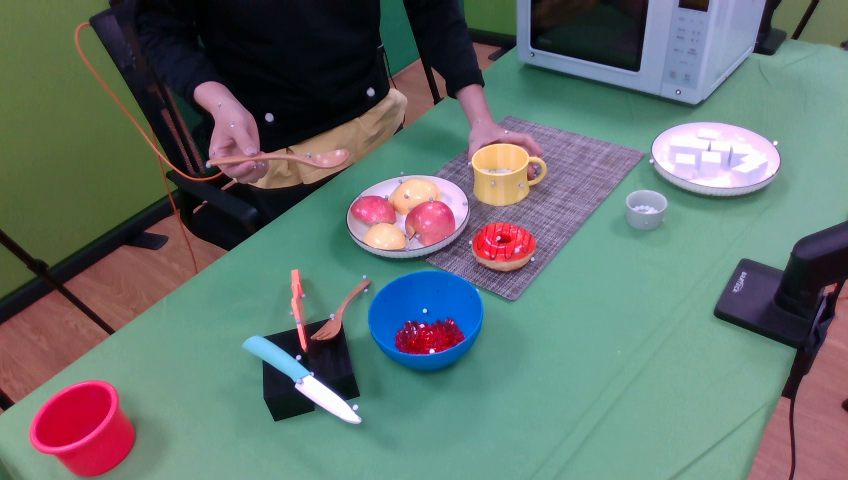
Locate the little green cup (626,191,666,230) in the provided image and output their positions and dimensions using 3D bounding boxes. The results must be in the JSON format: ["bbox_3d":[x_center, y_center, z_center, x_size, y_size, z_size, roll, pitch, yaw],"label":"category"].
[{"bbox_3d":[0.352,-0.046,0.963,0.061,0.039,0.061,-4,40,4],"label":"little green cup"}]

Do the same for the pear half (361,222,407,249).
[{"bbox_3d":[-0.063,-0.012,0.958,0.071,0.031,0.087,2,24,-25],"label":"pear half"}]

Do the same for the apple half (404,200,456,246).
[{"bbox_3d":[0.010,-0.035,0.969,0.075,0.053,0.080,-27,41,-22],"label":"apple half"}]

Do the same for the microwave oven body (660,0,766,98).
[{"bbox_3d":[0.472,-0.513,1.317,0.438,0.261,0.327,26,51,34],"label":"microwave oven body"}]

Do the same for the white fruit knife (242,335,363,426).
[{"bbox_3d":[-0.148,0.167,0.730,0.206,0.016,0.027,26,80,31],"label":"white fruit knife"}]

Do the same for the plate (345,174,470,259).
[{"bbox_3d":[-0.026,-0.037,1.004,0.209,0.038,0.208,-4,40,4],"label":"plate"}]

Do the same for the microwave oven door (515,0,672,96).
[{"bbox_3d":[0.343,-0.455,1.259,0.353,0.245,0.039,26,51,33],"label":"microwave oven door"}]

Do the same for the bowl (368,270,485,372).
[{"bbox_3d":[0.007,0.118,0.791,0.151,0.077,0.150,-5,40,4],"label":"bowl"}]

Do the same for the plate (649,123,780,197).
[{"bbox_3d":[0.497,-0.135,1.046,0.207,0.039,0.206,-4,40,4],"label":"plate"}]

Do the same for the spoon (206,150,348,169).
[{"bbox_3d":[-0.204,-0.114,0.850,0.194,0.022,0.041,-1,44,-12],"label":"spoon"}]

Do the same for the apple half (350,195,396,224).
[{"bbox_3d":[-0.081,-0.056,1.008,0.081,0.033,0.081,11,24,-4],"label":"apple half"}]

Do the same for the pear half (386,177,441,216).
[{"bbox_3d":[-0.029,-0.079,1.032,0.109,0.056,0.076,-3,35,16],"label":"pear half"}]

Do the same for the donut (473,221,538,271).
[{"bbox_3d":[0.123,0.008,0.923,0.099,0.048,0.098,-3,38,3],"label":"donut"}]

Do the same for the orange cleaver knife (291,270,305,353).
[{"bbox_3d":[-0.175,0.094,0.844,0.012,0.077,0.210,-11,14,-10],"label":"orange cleaver knife"}]

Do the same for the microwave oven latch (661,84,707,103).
[{"bbox_3d":[0.517,-0.296,1.204,0.078,0.029,0.030,27,52,35],"label":"microwave oven latch"}]

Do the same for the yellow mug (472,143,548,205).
[{"bbox_3d":[0.149,-0.117,1.049,0.131,0.064,0.099,-5,40,1],"label":"yellow mug"}]

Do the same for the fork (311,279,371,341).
[{"bbox_3d":[-0.108,0.092,0.832,0.028,0.019,0.207,-6,19,15],"label":"fork"}]
